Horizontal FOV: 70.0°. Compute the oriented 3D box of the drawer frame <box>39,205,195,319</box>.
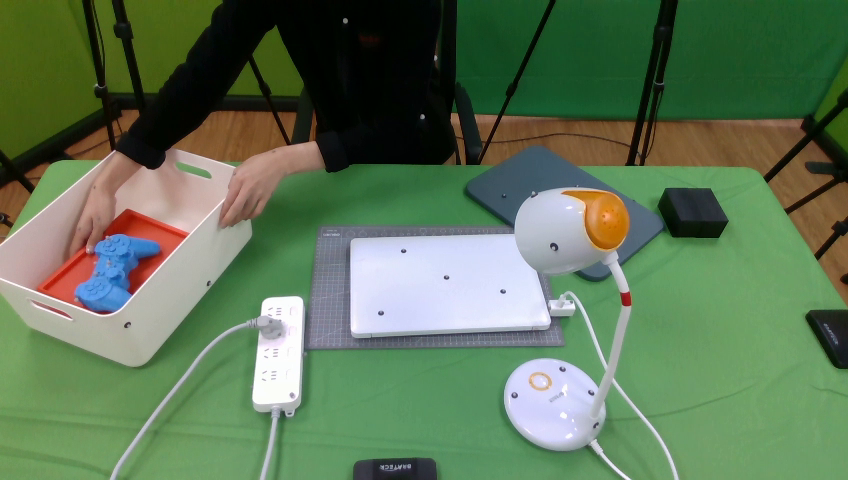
[{"bbox_3d":[-0.494,0.061,1.047,0.201,0.083,0.213,19,52,14],"label":"drawer frame"}]

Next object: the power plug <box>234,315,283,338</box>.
[{"bbox_3d":[-0.269,0.143,1.000,0.072,0.053,0.035,4,47,2],"label":"power plug"}]

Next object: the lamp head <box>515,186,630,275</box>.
[{"bbox_3d":[0.188,-0.013,0.728,0.112,0.112,0.122,-25,9,-25],"label":"lamp head"}]

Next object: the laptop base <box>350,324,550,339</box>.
[{"bbox_3d":[0.039,0.081,1.124,0.355,0.023,0.234,-2,43,-6],"label":"laptop base"}]

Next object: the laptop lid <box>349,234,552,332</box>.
[{"bbox_3d":[0.040,0.071,1.117,0.357,0.013,0.240,0,44,-5],"label":"laptop lid"}]

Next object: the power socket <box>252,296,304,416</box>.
[{"bbox_3d":[-0.238,0.182,0.997,0.072,0.033,0.225,-3,47,-5],"label":"power socket"}]

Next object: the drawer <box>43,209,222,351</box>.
[{"bbox_3d":[-0.496,0.064,1.049,0.194,0.073,0.211,21,50,12],"label":"drawer"}]

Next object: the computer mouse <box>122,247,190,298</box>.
[{"bbox_3d":[-0.478,0.054,1.080,0.117,0.041,0.062,29,48,15],"label":"computer mouse"}]

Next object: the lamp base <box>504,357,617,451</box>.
[{"bbox_3d":[0.220,0.211,0.902,0.160,0.181,0.178,-32,59,-30],"label":"lamp base"}]

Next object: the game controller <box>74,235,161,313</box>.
[{"bbox_3d":[-0.500,0.050,0.988,0.097,0.052,0.154,-1,45,-1],"label":"game controller"}]

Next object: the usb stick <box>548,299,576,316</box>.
[{"bbox_3d":[0.239,0.121,1.083,0.059,0.027,0.021,-1,50,-2],"label":"usb stick"}]

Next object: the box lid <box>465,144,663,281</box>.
[{"bbox_3d":[0.298,-0.072,1.298,0.263,0.015,0.369,-33,56,-31],"label":"box lid"}]

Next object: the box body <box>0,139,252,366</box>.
[{"bbox_3d":[-0.496,0.013,1.048,0.254,0.161,0.362,17,47,12],"label":"box body"}]
